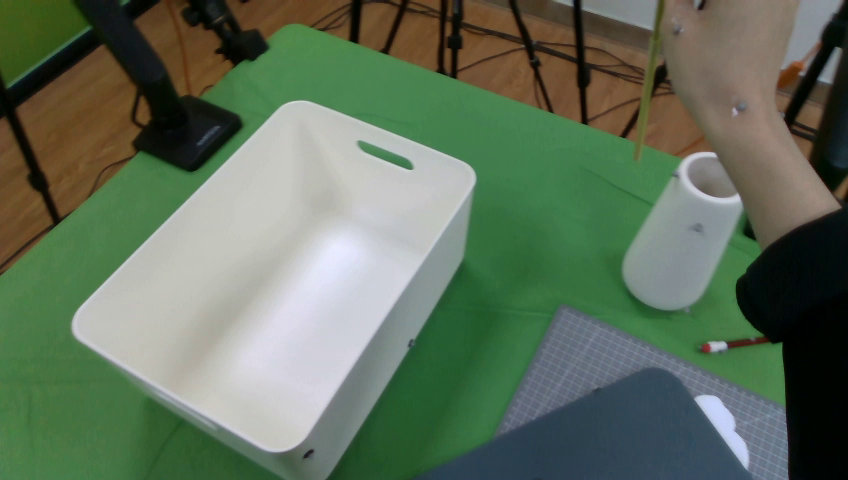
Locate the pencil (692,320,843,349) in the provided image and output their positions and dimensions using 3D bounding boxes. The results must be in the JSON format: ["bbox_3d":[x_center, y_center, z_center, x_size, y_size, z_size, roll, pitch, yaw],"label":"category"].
[{"bbox_3d":[0.408,0.110,0.716,0.194,0.012,0.012,-7,54,-7],"label":"pencil"}]

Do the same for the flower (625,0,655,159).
[{"bbox_3d":[0.150,-0.160,0.398,0.044,0.365,0.038,9,65,17],"label":"flower"}]

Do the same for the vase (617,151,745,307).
[{"bbox_3d":[0.285,-0.008,0.683,0.098,0.202,0.097,0,53,1],"label":"vase"}]

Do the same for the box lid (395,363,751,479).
[{"bbox_3d":[0.155,0.291,0.583,0.372,0.015,0.260,-21,58,-13],"label":"box lid"}]

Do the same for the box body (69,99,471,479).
[{"bbox_3d":[-0.135,0.046,0.667,0.253,0.162,0.362,24,58,16],"label":"box body"}]
